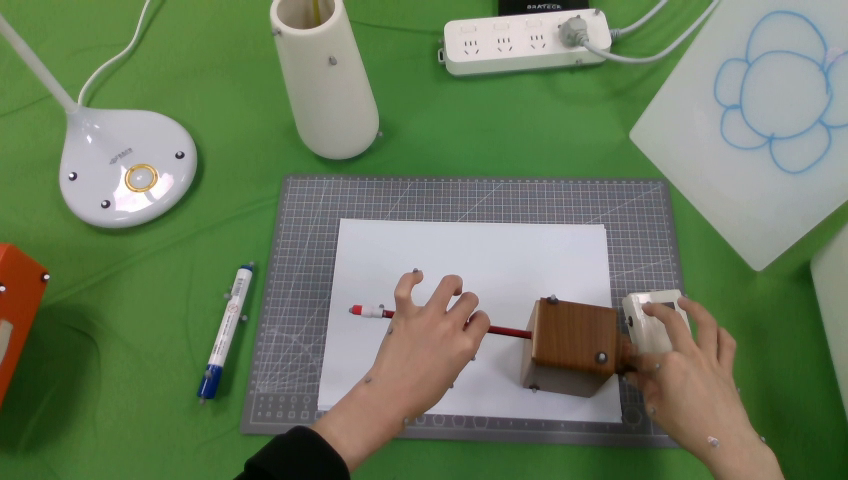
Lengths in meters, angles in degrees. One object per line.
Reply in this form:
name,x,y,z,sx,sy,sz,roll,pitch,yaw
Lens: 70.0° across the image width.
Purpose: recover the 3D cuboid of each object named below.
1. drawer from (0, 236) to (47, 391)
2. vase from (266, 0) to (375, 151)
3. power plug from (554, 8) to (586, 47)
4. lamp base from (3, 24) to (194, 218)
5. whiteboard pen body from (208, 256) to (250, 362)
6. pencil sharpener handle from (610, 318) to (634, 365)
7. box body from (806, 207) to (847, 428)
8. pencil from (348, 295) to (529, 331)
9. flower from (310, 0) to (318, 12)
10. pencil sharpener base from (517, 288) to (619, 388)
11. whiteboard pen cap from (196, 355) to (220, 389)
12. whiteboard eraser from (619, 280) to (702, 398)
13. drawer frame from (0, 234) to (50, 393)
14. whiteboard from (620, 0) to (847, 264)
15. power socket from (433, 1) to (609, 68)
drawer,-0.496,0.089,0.559,0.212,0.074,0.193,4,66,3
vase,-0.112,-0.184,0.658,0.098,0.201,0.097,-1,64,3
power plug,0.178,-0.253,0.745,0.035,0.053,0.072,5,67,5
lamp base,-0.368,-0.137,0.655,0.178,0.182,0.160,32,69,19
whiteboard pen body,-0.207,0.080,0.635,0.017,0.017,0.139,5,62,5
pencil sharpener handle,0.182,0.097,0.551,0.030,0.068,0.035,7,61,6
box body,0.514,0.125,0.512,0.254,0.161,0.361,0,65,2
pencil,0.026,0.069,0.551,0.194,0.012,0.012,8,65,3
flower,-0.108,-0.235,0.591,0.038,0.365,0.043,-10,46,-10
pencil sharpener base,0.132,0.095,0.567,0.076,0.108,0.061,7,65,6
whiteboard pen cap,-0.216,0.131,0.607,0.018,0.018,0.033,6,59,5
whiteboard eraser,0.231,0.097,0.599,0.055,0.042,0.111,-4,65,-1
drawer frame,-0.502,0.091,0.561,0.213,0.083,0.200,4,66,2
whiteboard,0.386,-0.160,0.605,0.144,0.307,0.215,-21,64,-28
power socket,0.125,-0.265,0.778,0.227,0.033,0.071,-4,66,0
